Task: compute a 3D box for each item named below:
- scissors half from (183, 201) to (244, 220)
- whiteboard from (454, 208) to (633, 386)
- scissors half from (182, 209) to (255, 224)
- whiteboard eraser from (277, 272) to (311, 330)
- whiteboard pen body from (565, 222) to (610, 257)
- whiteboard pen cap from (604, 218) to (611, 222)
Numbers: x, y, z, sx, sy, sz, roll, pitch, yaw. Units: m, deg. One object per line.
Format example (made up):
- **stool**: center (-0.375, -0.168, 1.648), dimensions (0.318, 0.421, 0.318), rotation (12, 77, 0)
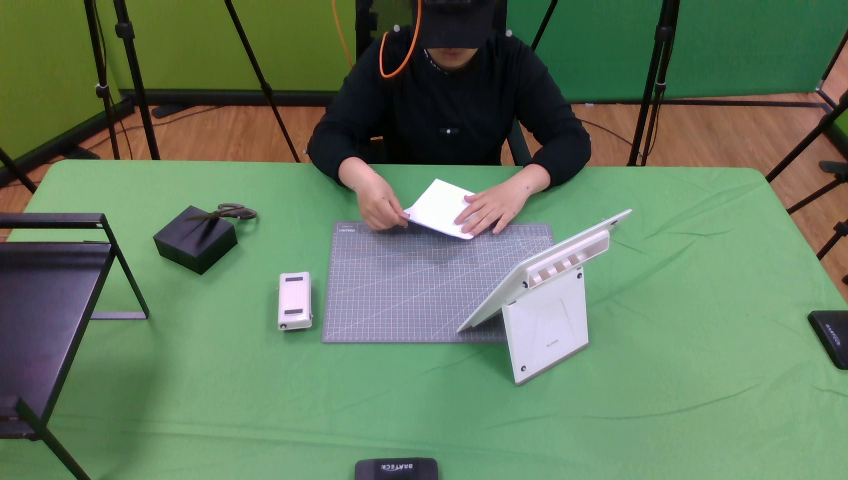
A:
- **scissors half**: center (-0.405, -0.054, 1.163), dimensions (0.040, 0.013, 0.175), rotation (27, 18, 8)
- **whiteboard**: center (0.211, 0.111, 0.954), dimensions (0.217, 0.306, 0.143), rotation (-22, 72, -24)
- **scissors half**: center (-0.389, -0.043, 1.158), dimensions (0.040, 0.013, 0.175), rotation (38, 21, 23)
- **whiteboard eraser**: center (-0.228, 0.108, 1.062), dimensions (0.056, 0.042, 0.112), rotation (-3, 46, -10)
- **whiteboard pen body**: center (0.335, -0.004, 1.228), dimensions (0.141, 0.017, 0.017), rotation (-32, 56, -29)
- **whiteboard pen cap**: center (0.378, -0.031, 1.255), dimensions (0.033, 0.018, 0.018), rotation (-33, 57, -29)
